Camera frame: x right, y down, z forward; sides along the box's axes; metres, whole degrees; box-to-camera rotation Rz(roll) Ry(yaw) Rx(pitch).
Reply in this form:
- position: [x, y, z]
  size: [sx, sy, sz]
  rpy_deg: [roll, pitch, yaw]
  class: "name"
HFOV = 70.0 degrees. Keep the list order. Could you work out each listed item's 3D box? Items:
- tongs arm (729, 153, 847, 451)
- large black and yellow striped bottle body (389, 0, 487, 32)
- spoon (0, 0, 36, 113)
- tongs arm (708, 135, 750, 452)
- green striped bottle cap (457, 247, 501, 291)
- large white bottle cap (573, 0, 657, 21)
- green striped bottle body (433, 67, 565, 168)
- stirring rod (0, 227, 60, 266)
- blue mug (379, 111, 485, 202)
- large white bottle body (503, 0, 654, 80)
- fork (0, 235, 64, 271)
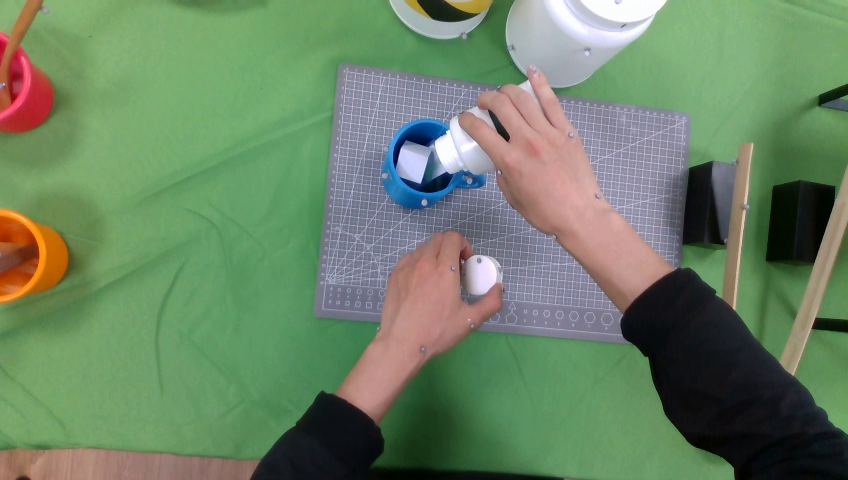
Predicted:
- position: [0.458, 0.079, 0.743]
  size: [0.028, 0.027, 0.388]
  rpy_deg: [14, 97, -16]
  class: "tongs arm"
- position: [0.027, -0.318, 0.647]
  size: [0.131, 0.184, 0.130]
  rpy_deg: [0, 87, -9]
  class: "large black and yellow striped bottle body"
- position: [-0.408, -0.189, 0.595]
  size: [0.194, 0.021, 0.041]
  rpy_deg: [-38, 90, 35]
  class: "spoon"
- position: [0.378, 0.071, 0.728]
  size: [0.051, 0.026, 0.385]
  rpy_deg: [1, 100, -11]
  class: "tongs arm"
- position: [0.057, 0.030, 0.635]
  size: [0.044, 0.020, 0.044]
  rpy_deg: [-6, 76, 23]
  class: "green striped bottle cap"
- position: [0.184, -0.271, 0.585]
  size: [0.115, 0.018, 0.114]
  rpy_deg: [1, 88, -10]
  class: "large white bottle cap"
- position: [0.069, -0.112, 0.584]
  size: [0.119, 0.063, 0.063]
  rpy_deg: [-23, 91, 18]
  class: "green striped bottle body"
- position: [-0.436, 0.030, 0.586]
  size: [0.014, 0.006, 0.175]
  rpy_deg: [53, 39, -7]
  class: "stirring rod"
- position: [0.010, -0.085, 0.674]
  size: [0.117, 0.106, 0.082]
  rpy_deg: [14, 85, -8]
  class: "blue mug"
- position: [0.172, -0.266, 0.668]
  size: [0.131, 0.184, 0.130]
  rpy_deg: [0, 87, -9]
  class: "large white bottle body"
- position: [-0.454, -0.010, 0.579]
  size: [0.209, 0.018, 0.028]
  rpy_deg: [31, 79, -50]
  class: "fork"
